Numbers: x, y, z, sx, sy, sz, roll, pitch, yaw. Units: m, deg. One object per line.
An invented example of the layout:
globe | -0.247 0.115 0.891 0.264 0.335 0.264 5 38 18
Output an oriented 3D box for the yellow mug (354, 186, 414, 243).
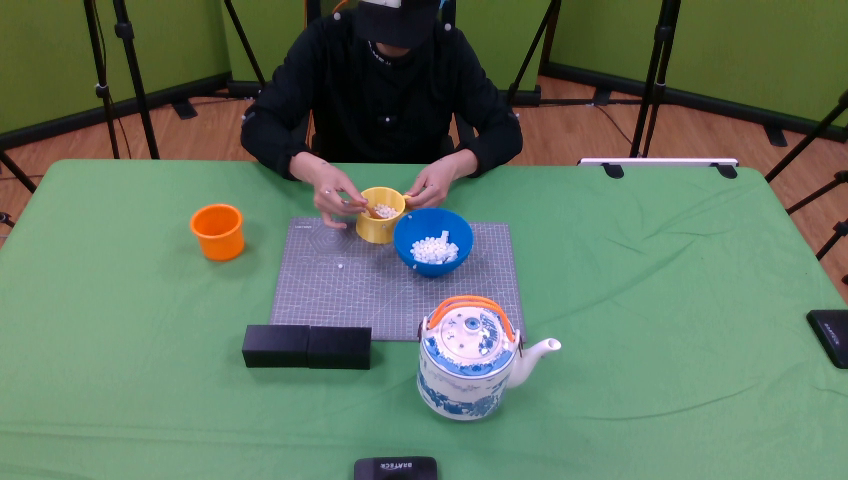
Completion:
yellow mug | -0.076 -0.056 1.211 0.131 0.064 0.099 -22 52 -25

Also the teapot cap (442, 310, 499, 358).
teapot cap | 0.068 0.133 0.880 0.085 0.044 0.084 4 45 -4

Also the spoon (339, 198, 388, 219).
spoon | -0.115 -0.061 1.153 0.041 0.194 0.021 31 91 20

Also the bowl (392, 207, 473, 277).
bowl | 0.014 0.016 1.140 0.151 0.077 0.150 2 46 -2

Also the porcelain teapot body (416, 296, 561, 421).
porcelain teapot body | 0.094 0.164 0.907 0.205 0.226 0.144 6 45 1
